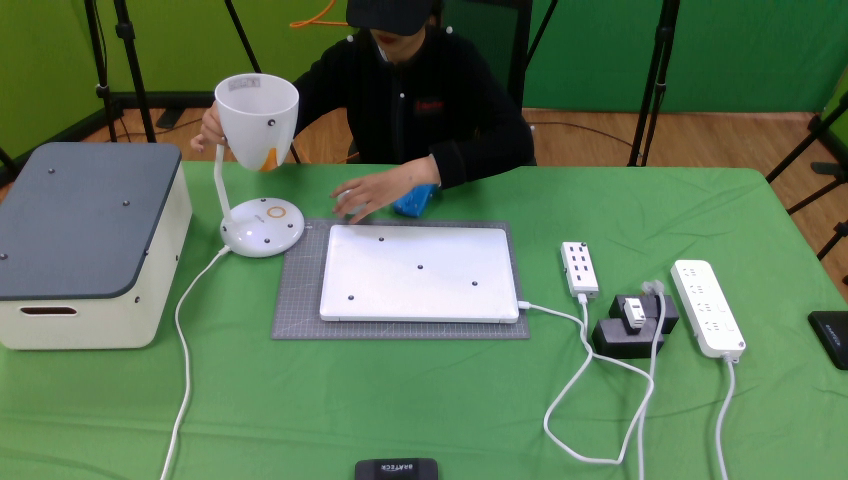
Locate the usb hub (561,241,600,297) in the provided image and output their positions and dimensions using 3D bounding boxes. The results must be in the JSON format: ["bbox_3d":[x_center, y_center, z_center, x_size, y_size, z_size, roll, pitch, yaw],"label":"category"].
[{"bbox_3d":[0.300,0.055,1.162,0.049,0.025,0.124,2,46,-3],"label":"usb hub"}]

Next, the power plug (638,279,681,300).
[{"bbox_3d":[0.434,0.099,1.119,0.073,0.053,0.035,34,38,-15],"label":"power plug"}]

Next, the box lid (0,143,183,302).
[{"bbox_3d":[-0.567,-0.045,0.999,0.263,0.015,0.369,-1,46,-4],"label":"box lid"}]

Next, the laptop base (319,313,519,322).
[{"bbox_3d":[-0.009,0.062,1.137,0.354,0.023,0.234,1,42,-3],"label":"laptop base"}]

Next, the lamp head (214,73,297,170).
[{"bbox_3d":[-0.242,-0.165,0.872,0.112,0.123,0.111,8,46,-8],"label":"lamp head"}]

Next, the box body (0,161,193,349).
[{"bbox_3d":[-0.570,0.006,1.054,0.254,0.161,0.361,-1,46,-4],"label":"box body"}]

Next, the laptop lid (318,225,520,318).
[{"bbox_3d":[-0.009,0.052,1.131,0.357,0.013,0.240,2,43,-2],"label":"laptop lid"}]

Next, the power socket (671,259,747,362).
[{"bbox_3d":[0.516,0.119,1.108,0.072,0.033,0.225,1,46,-2],"label":"power socket"}]

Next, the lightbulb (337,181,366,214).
[{"bbox_3d":[-0.147,-0.094,1.261,0.059,0.060,0.107,4,30,0],"label":"lightbulb"}]

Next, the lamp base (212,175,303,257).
[{"bbox_3d":[-0.324,-0.074,1.134,0.160,0.181,0.179,28,54,23],"label":"lamp base"}]

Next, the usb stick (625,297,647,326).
[{"bbox_3d":[0.360,0.116,1.034,0.021,0.027,0.059,-2,44,-2],"label":"usb stick"}]

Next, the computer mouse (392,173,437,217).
[{"bbox_3d":[-0.019,-0.098,1.282,0.062,0.041,0.117,20,51,12],"label":"computer mouse"}]
